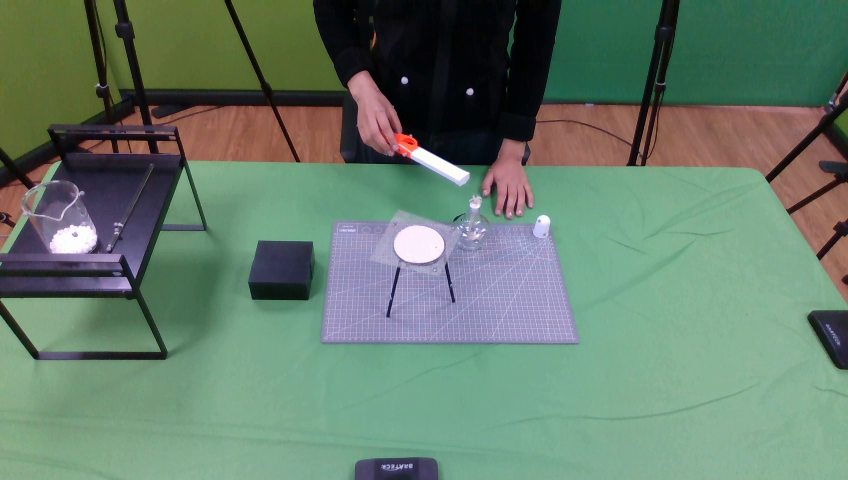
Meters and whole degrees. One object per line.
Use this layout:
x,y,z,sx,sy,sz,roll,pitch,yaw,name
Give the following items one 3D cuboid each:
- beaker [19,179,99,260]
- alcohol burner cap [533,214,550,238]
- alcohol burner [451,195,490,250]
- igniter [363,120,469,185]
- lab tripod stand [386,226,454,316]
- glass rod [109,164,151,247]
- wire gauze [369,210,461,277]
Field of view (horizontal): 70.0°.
-0.522,-0.024,0.878,0.074,0.101,0.083,-26,54,-25,beaker
0.240,-0.031,1.228,0.034,0.048,0.033,1,46,-1,alcohol burner cap
0.092,-0.038,1.175,0.078,0.120,0.077,2,44,-2,alcohol burner
-0.024,-0.178,1.193,0.275,0.025,0.057,33,54,30,igniter
-0.014,0.054,1.064,0.148,0.132,0.147,2,48,-2,lab tripod stand
-0.473,-0.061,0.979,0.008,0.008,0.198,1,46,-3,glass rod
-0.013,0.005,1.017,0.121,0.011,0.124,17,49,12,wire gauze
